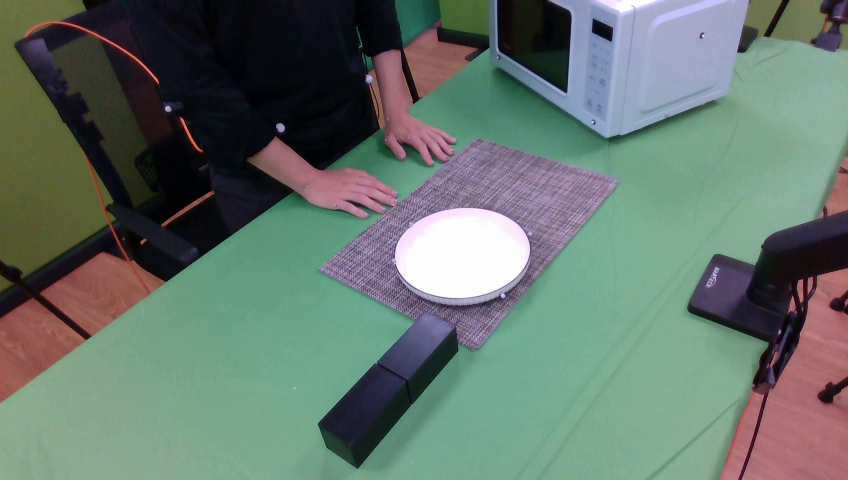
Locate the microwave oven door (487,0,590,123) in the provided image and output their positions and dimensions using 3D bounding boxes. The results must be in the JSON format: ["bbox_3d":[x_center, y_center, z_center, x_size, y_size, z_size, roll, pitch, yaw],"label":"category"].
[{"bbox_3d":[0.232,-0.420,1.231,0.039,0.245,0.352,-22,43,-16],"label":"microwave oven door"}]

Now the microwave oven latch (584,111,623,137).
[{"bbox_3d":[0.337,-0.222,1.142,0.030,0.029,0.078,-21,42,-14],"label":"microwave oven latch"}]

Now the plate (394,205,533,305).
[{"bbox_3d":[0.059,0.025,0.915,0.207,0.039,0.206,-4,41,4],"label":"plate"}]

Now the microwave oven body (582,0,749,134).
[{"bbox_3d":[0.382,-0.444,1.246,0.327,0.261,0.437,-22,42,-16],"label":"microwave oven body"}]
